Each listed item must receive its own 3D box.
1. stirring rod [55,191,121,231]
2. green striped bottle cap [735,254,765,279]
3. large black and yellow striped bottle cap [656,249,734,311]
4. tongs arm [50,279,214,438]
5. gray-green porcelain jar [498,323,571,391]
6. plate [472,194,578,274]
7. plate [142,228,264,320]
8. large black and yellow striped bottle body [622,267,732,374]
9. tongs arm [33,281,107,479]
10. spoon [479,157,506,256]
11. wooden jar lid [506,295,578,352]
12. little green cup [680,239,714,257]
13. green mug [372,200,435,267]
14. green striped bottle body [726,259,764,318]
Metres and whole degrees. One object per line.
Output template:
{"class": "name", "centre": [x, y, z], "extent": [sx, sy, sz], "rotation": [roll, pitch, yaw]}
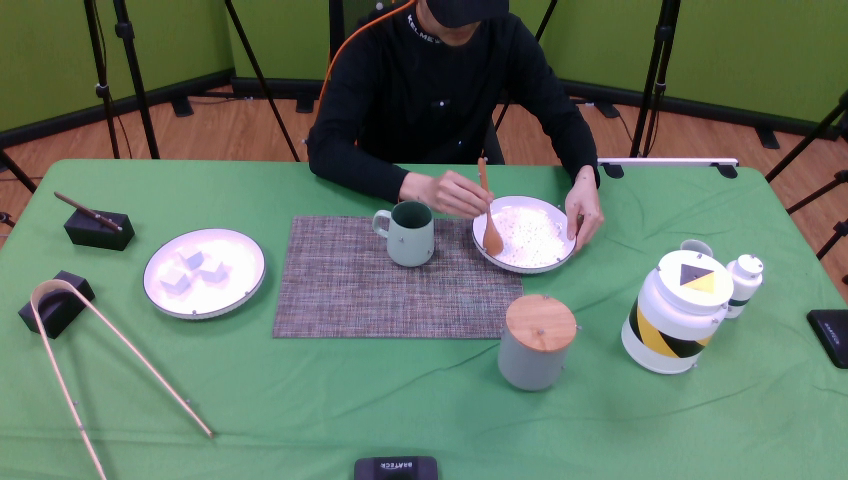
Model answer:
{"class": "stirring rod", "centre": [-0.632, -0.055, 1.138], "extent": [0.175, 0.014, 0.006], "rotation": [24, 51, 19]}
{"class": "green striped bottle cap", "centre": [0.566, 0.046, 1.051], "extent": [0.044, 0.020, 0.044], "rotation": [0, 45, 0]}
{"class": "large black and yellow striped bottle cap", "centre": [0.419, 0.061, 0.938], "extent": [0.115, 0.019, 0.114], "rotation": [2, 47, -2]}
{"class": "tongs arm", "centre": [-0.459, 0.178, 0.949], "extent": [0.386, 0.028, 0.028], "rotation": [37, 60, 17]}
{"class": "gray-green porcelain jar", "centre": [0.176, 0.172, 0.971], "extent": [0.106, 0.127, 0.105], "rotation": [2, 46, -2]}
{"class": "plate", "centre": [0.197, -0.009, 1.201], "extent": [0.209, 0.038, 0.208], "rotation": [2, 46, -2]}
{"class": "plate", "centre": [-0.394, 0.064, 1.095], "extent": [0.208, 0.039, 0.206], "rotation": [2, 46, -2]}
{"class": "large black and yellow striped bottle body", "centre": [0.415, 0.119, 0.997], "extent": [0.131, 0.185, 0.130], "rotation": [2, 46, -2]}
{"class": "tongs arm", "centre": [-0.517, 0.214, 0.910], "extent": [0.051, 0.026, 0.383], "rotation": [-28, 63, -27]}
{"class": "spoon", "centre": [0.121, -0.059, 1.129], "extent": [0.041, 0.194, 0.021], "rotation": [-6, 15, 17]}
{"class": "wooden jar lid", "centre": [0.179, 0.130, 0.925], "extent": [0.108, 0.021, 0.107], "rotation": [2, 43, -2]}
{"class": "little green cup", "centre": [0.530, 0.033, 1.189], "extent": [0.061, 0.039, 0.061], "rotation": [2, 48, -2]}
{"class": "green mug", "centre": [-0.040, -0.016, 1.146], "extent": [0.125, 0.105, 0.092], "rotation": [17, 48, 13]}
{"class": "green striped bottle body", "centre": [0.563, 0.081, 1.089], "extent": [0.063, 0.120, 0.063], "rotation": [2, 46, -2]}
